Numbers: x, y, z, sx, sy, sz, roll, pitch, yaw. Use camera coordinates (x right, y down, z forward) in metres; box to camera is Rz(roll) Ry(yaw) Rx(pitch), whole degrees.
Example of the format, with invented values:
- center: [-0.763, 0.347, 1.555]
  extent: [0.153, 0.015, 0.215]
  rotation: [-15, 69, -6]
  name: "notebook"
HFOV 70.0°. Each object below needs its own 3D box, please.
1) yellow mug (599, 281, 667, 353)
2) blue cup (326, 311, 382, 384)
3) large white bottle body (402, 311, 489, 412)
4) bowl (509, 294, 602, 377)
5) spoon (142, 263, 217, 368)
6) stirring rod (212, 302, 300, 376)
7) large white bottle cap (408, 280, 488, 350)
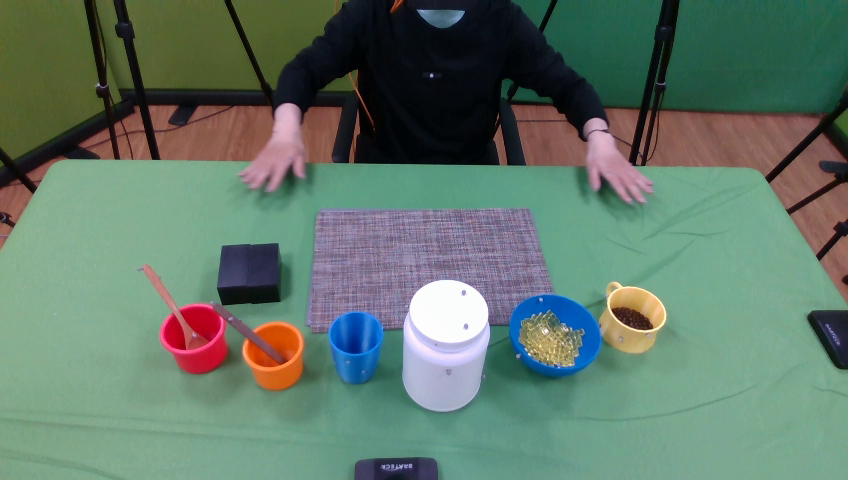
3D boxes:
- center: [0.359, 0.127, 1.069]
  extent: [0.100, 0.064, 0.130]
  rotation: [-12, 47, -14]
  name: "yellow mug"
- center: [-0.110, 0.177, 0.963]
  extent: [0.093, 0.101, 0.092]
  rotation: [3, 45, -3]
  name: "blue cup"
- center: [0.031, 0.163, 0.928]
  extent: [0.131, 0.185, 0.130]
  rotation: [2, 46, -2]
  name: "large white bottle body"
- center: [0.211, 0.171, 1.007]
  extent: [0.151, 0.077, 0.150]
  rotation: [2, 46, -2]
  name: "bowl"
- center: [-0.392, 0.120, 0.968]
  extent: [0.041, 0.021, 0.194]
  rotation: [-33, 100, -30]
  name: "spoon"
- center: [-0.261, 0.156, 0.948]
  extent: [0.177, 0.006, 0.014]
  rotation: [45, 45, -20]
  name: "stirring rod"
- center: [0.034, 0.105, 0.867]
  extent: [0.115, 0.018, 0.114]
  rotation: [2, 46, -1]
  name: "large white bottle cap"
